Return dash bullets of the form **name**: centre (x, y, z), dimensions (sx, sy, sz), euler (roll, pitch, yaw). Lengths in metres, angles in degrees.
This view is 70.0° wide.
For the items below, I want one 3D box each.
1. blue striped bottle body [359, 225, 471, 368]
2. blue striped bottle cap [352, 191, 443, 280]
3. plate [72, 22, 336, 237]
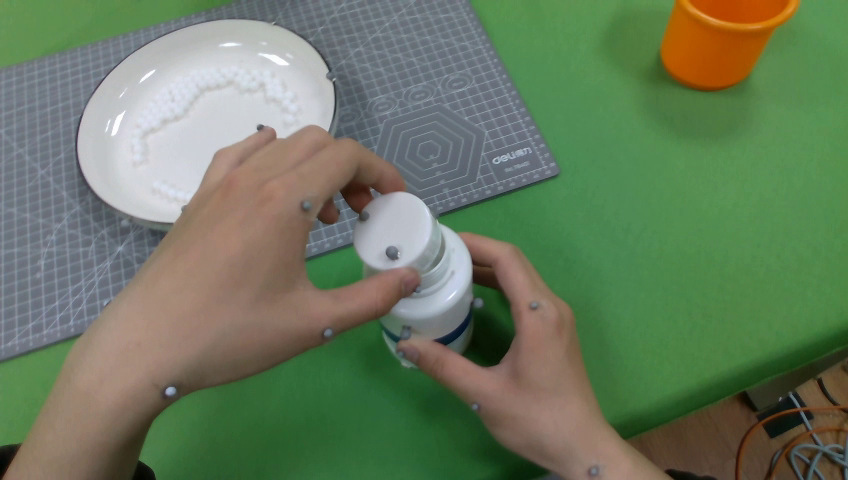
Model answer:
- **blue striped bottle body**: centre (-0.003, 0.031, 0.370), dimensions (0.063, 0.122, 0.062), euler (-2, 61, 4)
- **blue striped bottle cap**: centre (-0.014, -0.003, 0.313), dimensions (0.044, 0.021, 0.044), euler (-5, 69, 15)
- **plate**: centre (-0.172, -0.090, 0.492), dimensions (0.207, 0.039, 0.206), euler (-2, 62, 3)
